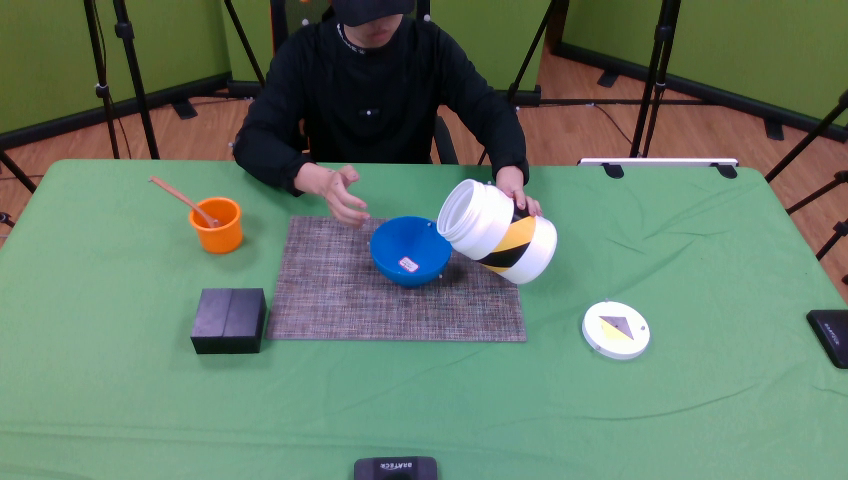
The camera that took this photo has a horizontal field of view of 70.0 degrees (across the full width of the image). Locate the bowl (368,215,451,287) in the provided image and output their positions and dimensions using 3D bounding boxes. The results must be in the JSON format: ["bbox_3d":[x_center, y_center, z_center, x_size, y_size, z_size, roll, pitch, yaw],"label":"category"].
[{"bbox_3d":[-0.028,0.034,1.119,0.151,0.077,0.150,2,46,-2],"label":"bowl"}]

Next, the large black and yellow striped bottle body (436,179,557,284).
[{"bbox_3d":[0.125,-0.017,1.062,0.185,0.131,0.130,29,42,-21],"label":"large black and yellow striped bottle body"}]

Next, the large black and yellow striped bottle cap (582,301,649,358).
[{"bbox_3d":[0.340,0.157,1.077,0.115,0.019,0.114,1,47,-1],"label":"large black and yellow striped bottle cap"}]

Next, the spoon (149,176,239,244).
[{"bbox_3d":[-0.427,-0.057,1.132,0.021,0.195,0.041,-28,31,33],"label":"spoon"}]
